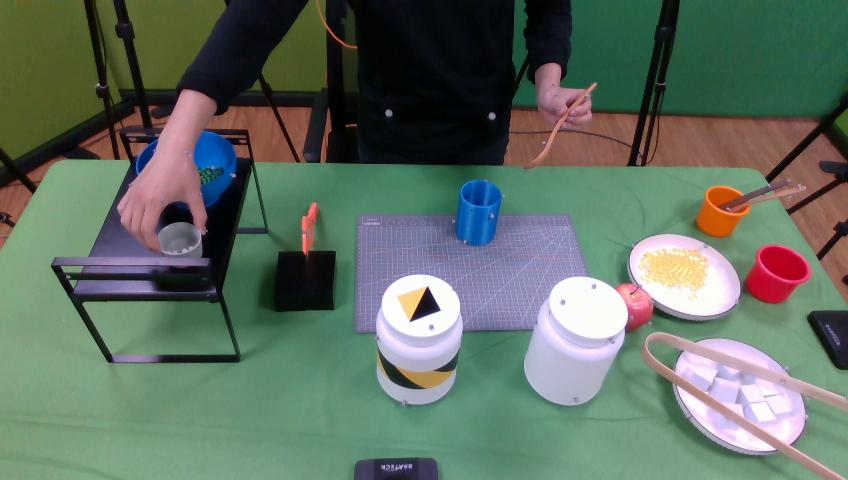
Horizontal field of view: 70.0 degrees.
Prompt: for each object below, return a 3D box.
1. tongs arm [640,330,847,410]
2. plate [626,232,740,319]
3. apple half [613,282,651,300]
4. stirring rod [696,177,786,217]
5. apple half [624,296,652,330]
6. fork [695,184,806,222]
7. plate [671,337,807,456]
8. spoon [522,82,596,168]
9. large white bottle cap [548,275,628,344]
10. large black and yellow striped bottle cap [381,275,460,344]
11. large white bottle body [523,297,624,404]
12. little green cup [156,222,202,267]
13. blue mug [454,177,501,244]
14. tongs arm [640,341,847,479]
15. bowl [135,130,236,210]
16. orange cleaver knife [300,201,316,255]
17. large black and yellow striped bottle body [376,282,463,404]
[{"bbox_3d":[0.543,0.225,0.969,0.384,0.026,0.050,22,52,13],"label":"tongs arm"},{"bbox_3d":[0.489,0.071,1.157,0.209,0.038,0.208,3,46,-3],"label":"plate"},{"bbox_3d":[0.356,0.109,1.086,0.081,0.075,0.053,-14,45,-12],"label":"apple half"},{"bbox_3d":[0.648,-0.087,1.244,0.176,0.006,0.014,-25,50,29],"label":"stirring rod"},{"bbox_3d":[0.368,0.135,1.060,0.081,0.081,0.032,-11,43,-15],"label":"apple half"},{"bbox_3d":[0.658,-0.074,1.229,0.207,0.019,0.028,-24,34,36],"label":"fork"},{"bbox_3d":[0.504,0.254,0.984,0.208,0.039,0.206,2,46,-2],"label":"plate"},{"bbox_3d":[0.235,-0.200,1.053,0.021,0.041,0.193,36,90,5],"label":"spoon"},{"bbox_3d":[0.240,0.100,0.890,0.115,0.018,0.114,3,47,-3],"label":"large white bottle cap"},{"bbox_3d":[-0.005,0.098,0.875,0.115,0.019,0.114,2,45,-2],"label":"large black and yellow striped bottle cap"},{"bbox_3d":[0.235,0.159,0.952,0.131,0.185,0.130,2,47,-2],"label":"large white bottle body"},{"bbox_3d":[-0.357,0.008,0.889,0.061,0.039,0.061,4,51,-5],"label":"little green cup"},{"bbox_3d":[0.106,-0.067,1.208,0.082,0.106,0.116,6,46,1],"label":"blue mug"},{"bbox_3d":[0.500,0.277,0.920,0.386,0.028,0.028,34,59,22],"label":"tongs arm"},{"bbox_3d":[-0.375,-0.102,0.977,0.151,0.077,0.150,3,47,-2],"label":"bowl"},{"bbox_3d":[-0.221,-0.027,1.160,0.012,0.077,0.210,-1,15,-4],"label":"orange cleaver knife"},{"bbox_3d":[-0.010,0.155,0.937,0.131,0.185,0.130,2,47,-2],"label":"large black and yellow striped bottle body"}]
